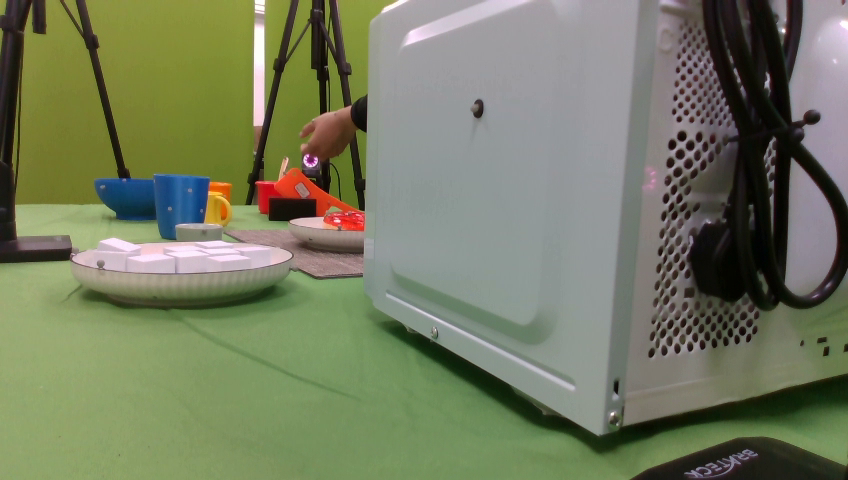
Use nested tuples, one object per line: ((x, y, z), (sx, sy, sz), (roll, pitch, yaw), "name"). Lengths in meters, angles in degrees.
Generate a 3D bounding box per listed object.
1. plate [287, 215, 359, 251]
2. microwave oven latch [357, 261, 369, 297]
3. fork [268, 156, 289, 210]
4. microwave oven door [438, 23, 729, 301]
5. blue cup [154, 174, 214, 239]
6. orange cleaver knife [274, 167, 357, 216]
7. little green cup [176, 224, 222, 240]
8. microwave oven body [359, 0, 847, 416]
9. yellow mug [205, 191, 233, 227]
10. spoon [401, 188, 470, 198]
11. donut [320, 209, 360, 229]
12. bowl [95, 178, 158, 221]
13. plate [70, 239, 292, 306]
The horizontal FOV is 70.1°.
((-0.111, -0.012, 0.960), (0.209, 0.038, 0.209), (3, 8, 0), "plate")
((-0.019, 0.033, 0.530), (0.079, 0.029, 0.030), (-1, 7, -26), "microwave oven latch")
((-0.360, -0.144, 1.508), (0.028, 0.018, 0.207), (1, 49, 0), "fork")
((0.181, -0.072, 0.620), (0.358, 0.243, 0.039), (-2, 8, -29), "microwave oven door")
((-0.390, -0.053, 0.978), (0.093, 0.100, 0.092), (3, 6, 0), "blue cup")
((-0.238, -0.090, 1.381), (0.212, 0.077, 0.012), (31, 0, -19), "orange cleaver knife")
((-0.312, -0.001, 0.842), (0.061, 0.038, 0.061), (2, 8, 0), "little green cup")
((0.211, -0.047, 0.474), (0.444, 0.260, 0.324), (-1, 7, -28), "microwave oven body")
((-0.415, -0.057, 1.132), (0.130, 0.064, 0.100), (6, 8, 16), "yellow mug")
((0.031, -0.111, 1.399), (0.195, 0.021, 0.041), (-7, -9, -35), "spoon")
((-0.115, -0.023, 0.962), (0.099, 0.048, 0.099), (5, 9, 0), "donut")
((-0.576, -0.081, 1.217), (0.151, 0.077, 0.151), (3, 8, 0), "bowl")
((-0.242, 0.032, 0.618), (0.208, 0.039, 0.207), (2, 8, 0), "plate")
